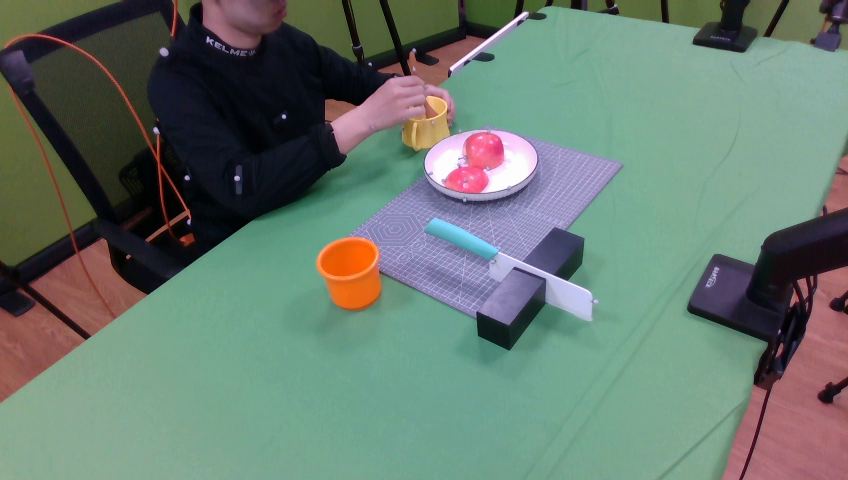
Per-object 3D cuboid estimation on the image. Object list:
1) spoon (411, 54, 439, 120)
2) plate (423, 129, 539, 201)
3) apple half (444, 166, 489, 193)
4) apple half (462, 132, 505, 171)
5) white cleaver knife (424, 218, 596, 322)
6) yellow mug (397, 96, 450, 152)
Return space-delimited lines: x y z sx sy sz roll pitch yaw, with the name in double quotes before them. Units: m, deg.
"spoon" 0.000 -0.271 1.147 0.042 0.195 0.021 -43 51 -15
"plate" 0.103 -0.132 1.092 0.209 0.038 0.208 -4 40 4
"apple half" 0.074 -0.112 1.063 0.081 0.033 0.081 -6 39 5
"apple half" 0.109 -0.170 1.110 0.075 0.053 0.080 -6 40 -2
"white cleaver knife" 0.114 0.042 0.865 0.284 0.066 0.021 27 47 28
"yellow mug" -0.004 -0.226 1.201 0.099 0.064 0.130 5 44 16
